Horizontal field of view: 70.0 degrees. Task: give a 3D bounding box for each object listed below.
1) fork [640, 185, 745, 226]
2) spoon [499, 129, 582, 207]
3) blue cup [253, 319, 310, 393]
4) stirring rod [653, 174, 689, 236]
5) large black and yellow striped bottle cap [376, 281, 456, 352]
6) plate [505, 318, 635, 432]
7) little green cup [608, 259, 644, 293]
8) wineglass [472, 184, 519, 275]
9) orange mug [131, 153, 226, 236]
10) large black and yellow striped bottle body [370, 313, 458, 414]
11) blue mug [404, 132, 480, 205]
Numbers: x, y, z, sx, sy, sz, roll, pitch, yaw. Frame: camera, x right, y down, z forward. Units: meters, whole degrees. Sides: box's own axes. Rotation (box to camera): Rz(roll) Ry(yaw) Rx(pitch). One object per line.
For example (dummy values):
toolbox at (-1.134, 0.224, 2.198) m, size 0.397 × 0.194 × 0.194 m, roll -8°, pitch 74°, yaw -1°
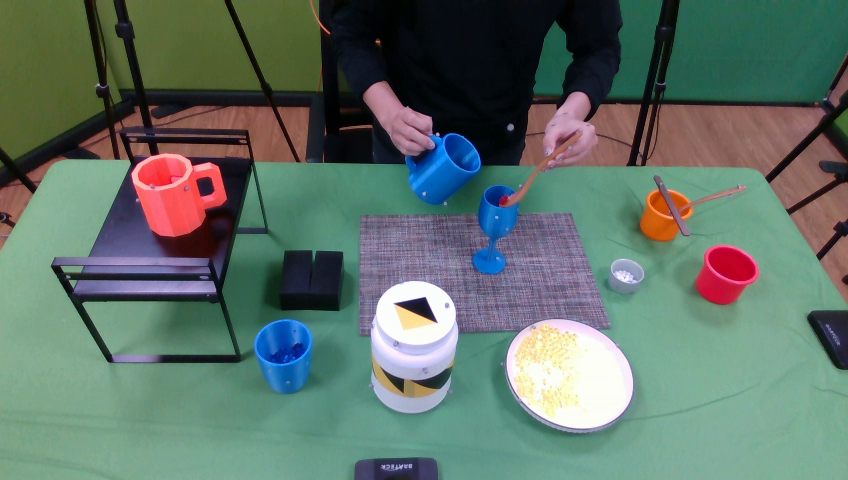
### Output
fork at (0.534, -0.069, 1.215) m, size 0.207 × 0.019 × 0.028 m, roll -26°, pitch 27°, yaw 33°
spoon at (0.188, -0.115, 0.992) m, size 0.021 × 0.194 × 0.041 m, roll 39°, pitch 38°, yaw 0°
blue cup at (-0.217, 0.187, 0.943) m, size 0.093 × 0.101 × 0.092 m, roll 4°, pitch 45°, yaw -3°
stirring rod at (0.491, -0.072, 1.211) m, size 0.014 × 0.006 × 0.175 m, roll 0°, pitch 47°, yaw -6°
large black and yellow striped bottle cap at (-0.011, 0.107, 0.863) m, size 0.115 × 0.019 × 0.114 m, roll 2°, pitch 47°, yaw -2°
plate at (0.235, 0.221, 0.991) m, size 0.209 × 0.038 × 0.208 m, roll 2°, pitch 45°, yaw -2°
little green cup at (0.379, 0.070, 1.147) m, size 0.061 × 0.039 × 0.061 m, roll 3°, pitch 45°, yaw -2°
wineglass at (0.129, -0.018, 1.113) m, size 0.074 × 0.173 × 0.073 m, roll 2°, pitch 46°, yaw -2°
orange mug at (-0.375, -0.075, 0.937) m, size 0.126 × 0.101 × 0.083 m, roll -20°, pitch 50°, yaw -17°
large black and yellow striped bottle body at (-0.017, 0.165, 0.924) m, size 0.131 × 0.185 × 0.130 m, roll 2°, pitch 46°, yaw -2°
blue mug at (0.020, -0.132, 1.043) m, size 0.117 × 0.106 × 0.082 m, roll 36°, pitch 45°, yaw -14°
